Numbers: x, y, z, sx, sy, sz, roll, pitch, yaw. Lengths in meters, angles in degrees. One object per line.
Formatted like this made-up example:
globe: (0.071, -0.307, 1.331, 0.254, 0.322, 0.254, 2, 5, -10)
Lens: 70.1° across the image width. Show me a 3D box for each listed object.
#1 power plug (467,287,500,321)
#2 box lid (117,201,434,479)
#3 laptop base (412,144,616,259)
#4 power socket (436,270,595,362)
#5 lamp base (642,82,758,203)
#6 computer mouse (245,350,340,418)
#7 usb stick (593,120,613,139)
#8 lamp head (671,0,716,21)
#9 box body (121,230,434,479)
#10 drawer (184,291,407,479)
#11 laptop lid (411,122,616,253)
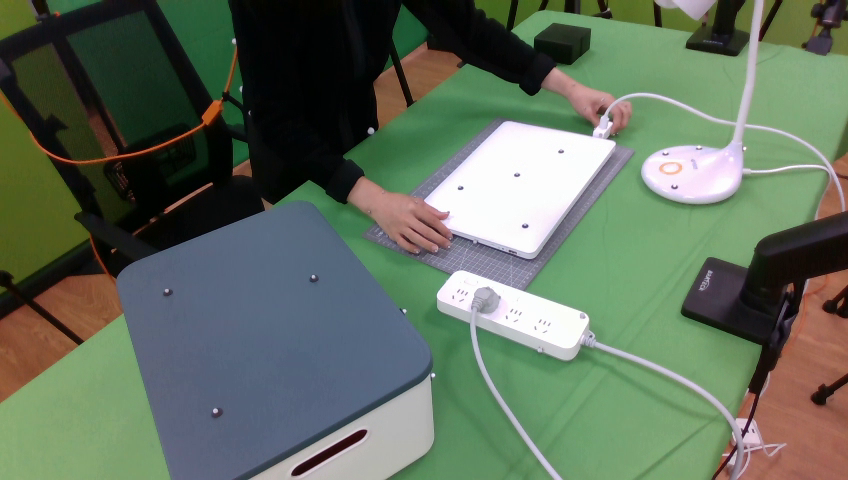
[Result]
power plug: (0.073, 0.092, 0.814, 0.035, 0.053, 0.073, 29, 54, 34)
box lid: (-0.182, 0.087, 0.675, 0.264, 0.015, 0.368, -25, 42, -20)
laptop base: (0.168, -0.101, 1.074, 0.234, 0.023, 0.355, 17, 46, 30)
power socket: (0.119, 0.101, 0.832, 0.225, 0.033, 0.072, 19, 48, 27)
lamp base: (0.464, -0.174, 0.992, 0.179, 0.181, 0.159, -5, 41, -1)
computer mouse: (-0.165, 0.173, 0.754, 0.118, 0.041, 0.062, -18, 34, -18)
usb stick: (0.336, -0.201, 1.147, 0.021, 0.027, 0.059, 26, 53, 26)
lamp head: (0.375, -0.373, 0.807, 0.122, 0.113, 0.112, -40, 27, 32)
box body: (-0.175, 0.142, 0.725, 0.255, 0.161, 0.360, -25, 43, -20)
drawer: (-0.155, 0.179, 0.719, 0.195, 0.073, 0.210, -27, 40, -21)
laptop lid: (0.165, -0.111, 1.067, 0.240, 0.013, 0.357, 19, 46, 31)
